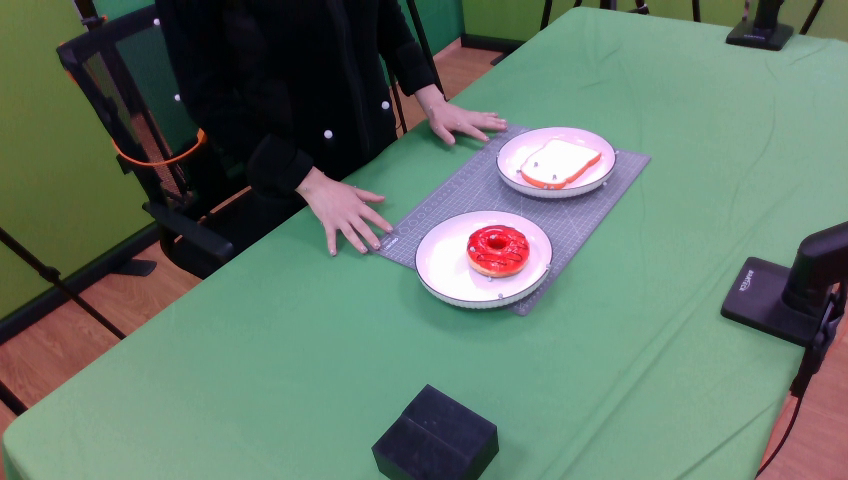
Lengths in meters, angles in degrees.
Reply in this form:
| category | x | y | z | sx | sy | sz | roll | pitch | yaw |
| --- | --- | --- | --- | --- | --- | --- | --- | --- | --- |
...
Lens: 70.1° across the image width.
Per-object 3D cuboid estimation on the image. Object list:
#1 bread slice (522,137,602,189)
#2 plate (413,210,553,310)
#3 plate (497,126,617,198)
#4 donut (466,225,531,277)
| category | x | y | z | sx | sy | sz | roll | pitch | yaw |
| --- | --- | --- | --- | --- | --- | --- | --- | --- | --- |
| bread slice | 0.242 | -0.136 | 1.085 | 0.106 | 0.018 | 0.134 | 23 | 50 | 34 |
| plate | 0.088 | 0.033 | 0.914 | 0.207 | 0.039 | 0.206 | -5 | 40 | 5 |
| plate | 0.236 | -0.136 | 1.085 | 0.209 | 0.038 | 0.208 | -5 | 40 | 5 |
| donut | 0.112 | 0.017 | 0.910 | 0.099 | 0.048 | 0.098 | -2 | 41 | 2 |
